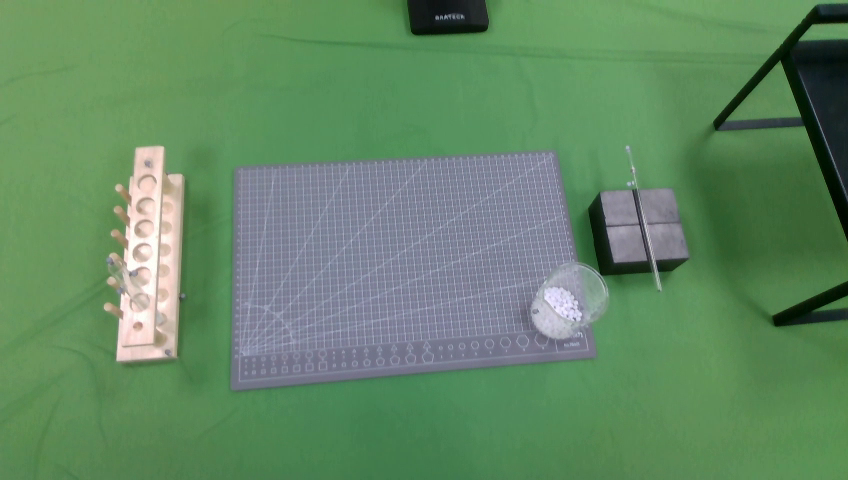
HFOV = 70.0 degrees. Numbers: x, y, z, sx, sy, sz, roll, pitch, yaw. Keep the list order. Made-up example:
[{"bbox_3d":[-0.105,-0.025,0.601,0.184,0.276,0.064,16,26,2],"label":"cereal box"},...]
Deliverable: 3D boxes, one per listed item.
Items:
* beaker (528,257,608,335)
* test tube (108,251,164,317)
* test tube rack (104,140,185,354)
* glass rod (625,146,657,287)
[{"bbox_3d":[0.167,0.072,0.735,0.084,0.101,0.073,-2,69,-4],"label":"beaker"},{"bbox_3d":[-0.311,0.052,0.661,0.017,0.151,0.017,3,62,-5],"label":"test tube"},{"bbox_3d":[-0.339,0.007,0.729,0.067,0.085,0.240,-4,70,-6],"label":"test tube rack"},{"bbox_3d":[0.280,-0.034,0.785,0.008,0.008,0.198,-2,70,-5],"label":"glass rod"}]
